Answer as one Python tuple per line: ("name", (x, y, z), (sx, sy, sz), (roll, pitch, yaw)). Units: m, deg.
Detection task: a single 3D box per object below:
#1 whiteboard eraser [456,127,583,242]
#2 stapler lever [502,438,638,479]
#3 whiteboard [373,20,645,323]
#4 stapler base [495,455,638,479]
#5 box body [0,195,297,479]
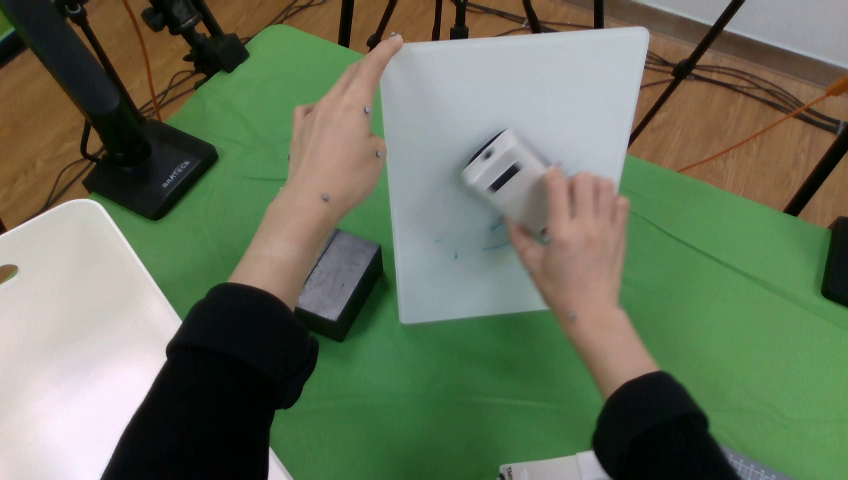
("whiteboard eraser", (0.085, -0.048, 0.533), (0.055, 0.114, 0.041), (-45, 32, 18))
("stapler lever", (0.130, 0.198, 0.537), (0.118, 0.040, 0.026), (-7, 54, -2))
("whiteboard", (0.066, -0.083, 0.612), (0.217, 0.308, 0.142), (-5, 39, -4))
("stapler base", (0.133, 0.211, 0.558), (0.130, 0.024, 0.041), (-7, 54, -2))
("box body", (-0.280, 0.176, 0.490), (0.254, 0.161, 0.361), (-36, 65, -21))
